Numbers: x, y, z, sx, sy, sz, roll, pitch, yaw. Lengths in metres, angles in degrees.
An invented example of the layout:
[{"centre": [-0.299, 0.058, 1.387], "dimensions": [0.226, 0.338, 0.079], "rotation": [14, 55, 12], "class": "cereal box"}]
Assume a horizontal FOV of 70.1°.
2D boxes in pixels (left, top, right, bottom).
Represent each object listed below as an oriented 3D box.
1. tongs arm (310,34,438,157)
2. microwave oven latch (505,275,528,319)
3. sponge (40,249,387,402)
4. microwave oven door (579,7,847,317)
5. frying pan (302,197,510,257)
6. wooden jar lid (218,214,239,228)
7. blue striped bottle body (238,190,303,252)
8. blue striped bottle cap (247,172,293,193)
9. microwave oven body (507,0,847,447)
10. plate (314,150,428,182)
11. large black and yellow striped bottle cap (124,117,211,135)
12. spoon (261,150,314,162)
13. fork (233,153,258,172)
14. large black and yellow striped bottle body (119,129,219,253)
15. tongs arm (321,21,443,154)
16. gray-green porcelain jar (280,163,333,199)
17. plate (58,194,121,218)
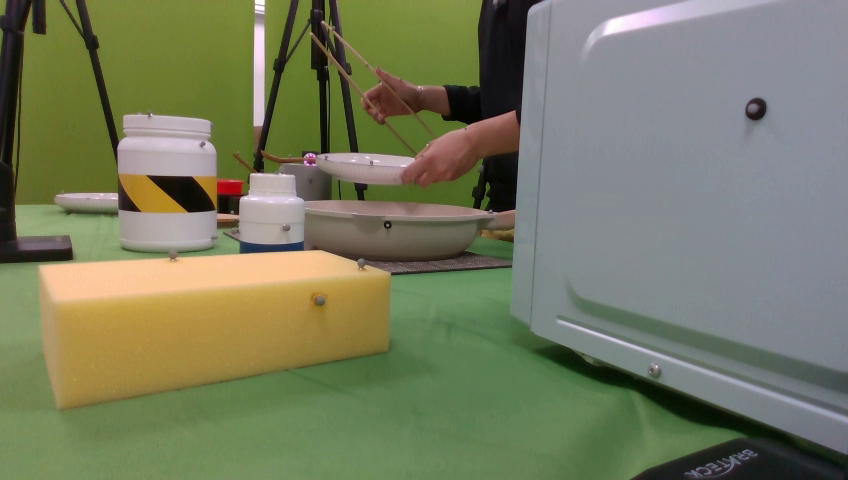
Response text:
[{"centre": [-0.100, -0.299, 1.297], "dimensions": [0.389, 0.028, 0.027], "rotation": [42, -4, -34], "class": "tongs arm"}, {"centre": [0.100, 0.041, 0.471], "dimensions": [0.079, 0.029, 0.030], "rotation": [-1, 7, -28], "class": "microwave oven latch"}, {"centre": [-0.142, 0.047, 0.419], "dimensions": [0.208, 0.061, 0.117], "rotation": [-3, 8, -36], "class": "sponge"}, {"centre": [0.294, -0.067, 0.570], "dimensions": [0.358, 0.243, 0.039], "rotation": [-3, 9, -31], "class": "microwave oven door"}, {"centre": [0.051, -0.035, 0.915], "dimensions": [0.487, 0.102, 0.307], "rotation": [-5, 7, 11], "class": "frying pan"}, {"centre": [-0.404, -0.037, 1.169], "dimensions": [0.108, 0.020, 0.108], "rotation": [3, 7, 0], "class": "wooden jar lid"}, {"centre": [-0.153, -0.007, 0.606], "dimensions": [0.063, 0.120, 0.063], "rotation": [2, 7, 0], "class": "blue striped bottle body"}, {"centre": [-0.152, -0.057, 0.598], "dimensions": [0.044, 0.020, 0.044], "rotation": [3, 6, 0], "class": "blue striped bottle cap"}, {"centre": [0.331, -0.042, 0.425], "dimensions": [0.444, 0.260, 0.324], "rotation": [-2, 8, -31], "class": "microwave oven body"}, {"centre": [-0.096, -0.136, 1.105], "dimensions": [0.208, 0.039, 0.207], "rotation": [3, 14, 0], "class": "plate"}, {"centre": [-0.366, -0.163, 0.866], "dimensions": [0.115, 0.019, 0.115], "rotation": [3, 7, 0], "class": "large black and yellow striped bottle cap"}, {"centre": [-0.229, -0.162, 1.222], "dimensions": [0.194, 0.021, 0.041], "rotation": [3, 4, -16], "class": "spoon"}, {"centre": [-0.396, -0.144, 1.486], "dimensions": [0.028, 0.018, 0.208], "rotation": [20, -26, 45], "class": "fork"}, {"centre": [-0.367, -0.080, 0.876], "dimensions": [0.131, 0.184, 0.130], "rotation": [1, 7, 0], "class": "large black and yellow striped bottle body"}, {"centre": [-0.085, -0.316, 1.297], "dimensions": [0.387, 0.051, 0.026], "rotation": [36, 2, -34], "class": "tongs arm"}, {"centre": [-0.238, -0.092, 1.221], "dimensions": [0.106, 0.126, 0.106], "rotation": [2, 7, 0], "class": "gray-green porcelain jar"}, {"centre": [-0.671, -0.074, 1.310], "dimensions": [0.209, 0.038, 0.209], "rotation": [2, 8, 0], "class": "plate"}]
